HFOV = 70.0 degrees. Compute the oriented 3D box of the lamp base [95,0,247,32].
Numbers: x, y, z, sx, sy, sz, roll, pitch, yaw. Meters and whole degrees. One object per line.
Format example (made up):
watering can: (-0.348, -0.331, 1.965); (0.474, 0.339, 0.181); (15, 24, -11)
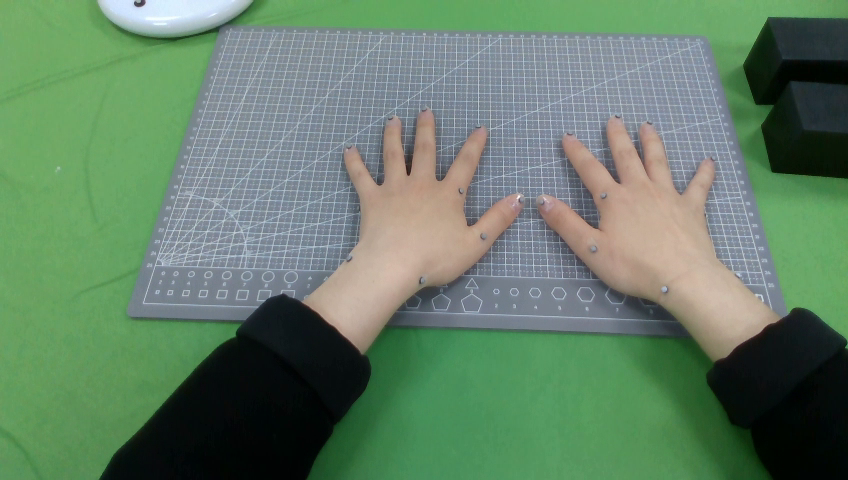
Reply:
lamp base: (-0.248, -0.307, 0.529); (0.160, 0.182, 0.177); (-35, 62, -19)
